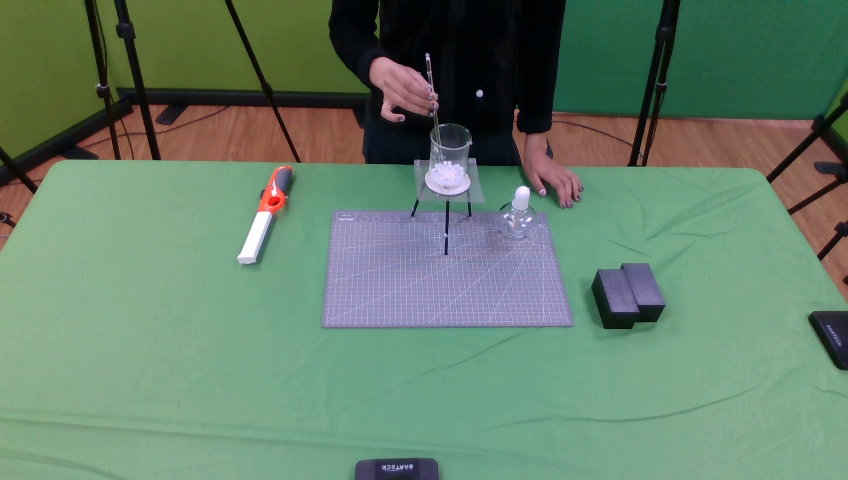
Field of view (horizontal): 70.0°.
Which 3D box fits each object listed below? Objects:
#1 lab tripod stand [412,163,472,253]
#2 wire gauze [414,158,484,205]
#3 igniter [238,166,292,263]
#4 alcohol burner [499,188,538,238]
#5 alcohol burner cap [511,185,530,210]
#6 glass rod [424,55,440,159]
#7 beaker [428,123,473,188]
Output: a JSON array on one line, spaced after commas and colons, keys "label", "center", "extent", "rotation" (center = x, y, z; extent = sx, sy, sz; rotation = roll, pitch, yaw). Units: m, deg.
[{"label": "lab tripod stand", "center": [0.043, -0.070, 1.187], "extent": [0.148, 0.132, 0.147], "rotation": [3, 47, -3]}, {"label": "wire gauze", "center": [0.045, -0.113, 1.137], "extent": [0.125, 0.011, 0.120], "rotation": [1, 48, -6]}, {"label": "igniter", "center": [-0.318, -0.060, 1.229], "extent": [0.057, 0.025, 0.275], "rotation": [-1, 45, 10]}, {"label": "alcohol burner", "center": [0.189, -0.060, 1.202], "extent": [0.078, 0.120, 0.077], "rotation": [1, 48, -1]}, {"label": "alcohol burner cap", "center": [0.190, -0.086, 1.176], "extent": [0.034, 0.048, 0.033], "rotation": [3, 50, -3]}, {"label": "glass rod", "center": [0.015, -0.218, 1.022], "extent": [0.008, 0.201, 0.008], "rotation": [-5, 43, 5]}, {"label": "beaker", "center": [0.044, -0.154, 1.109], "extent": [0.074, 0.101, 0.083], "rotation": [-25, 54, -25]}]
